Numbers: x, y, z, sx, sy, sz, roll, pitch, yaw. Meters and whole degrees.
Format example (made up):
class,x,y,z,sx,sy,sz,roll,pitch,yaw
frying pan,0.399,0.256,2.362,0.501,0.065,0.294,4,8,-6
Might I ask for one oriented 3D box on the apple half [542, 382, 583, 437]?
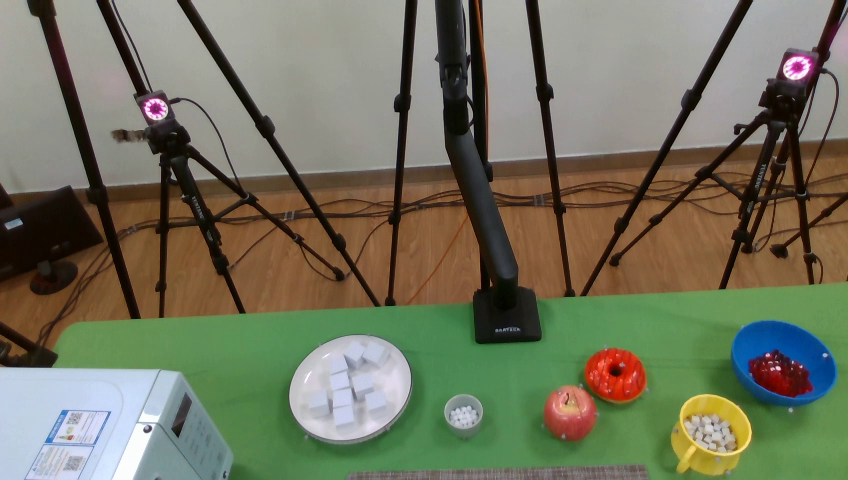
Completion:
class,x,y,z,sx,sy,sz,roll,pitch,yaw
apple half,0.212,0.268,0.944,0.053,0.075,0.080,-12,48,1

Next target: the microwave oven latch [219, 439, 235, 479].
class,x,y,z,sx,sy,sz,roll,pitch,yaw
microwave oven latch,-0.313,0.344,0.924,0.030,0.030,0.078,1,46,7

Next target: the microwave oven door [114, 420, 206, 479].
class,x,y,z,sx,sy,sz,roll,pitch,yaw
microwave oven door,-0.339,0.425,0.698,0.039,0.246,0.352,-1,45,6

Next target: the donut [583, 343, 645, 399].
class,x,y,z,sx,sy,sz,roll,pitch,yaw
donut,0.314,0.217,1.004,0.099,0.049,0.098,-4,47,5

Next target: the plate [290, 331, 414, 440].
class,x,y,z,sx,sy,sz,roll,pitch,yaw
plate,-0.119,0.247,1.027,0.207,0.039,0.205,-3,44,3

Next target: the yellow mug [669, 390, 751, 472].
class,x,y,z,sx,sy,sz,roll,pitch,yaw
yellow mug,0.414,0.292,0.900,0.131,0.064,0.099,-35,51,-24

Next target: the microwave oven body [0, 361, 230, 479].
class,x,y,z,sx,sy,sz,roll,pitch,yaw
microwave oven body,-0.481,0.401,0.746,0.326,0.263,0.437,0,46,6

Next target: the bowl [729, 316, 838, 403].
class,x,y,z,sx,sy,sz,roll,pitch,yaw
bowl,0.559,0.203,0.965,0.151,0.077,0.150,-4,45,4

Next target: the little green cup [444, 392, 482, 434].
class,x,y,z,sx,sy,sz,roll,pitch,yaw
little green cup,0.064,0.280,0.973,0.061,0.039,0.061,-3,44,4

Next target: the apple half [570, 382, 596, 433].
class,x,y,z,sx,sy,sz,roll,pitch,yaw
apple half,0.250,0.260,0.945,0.033,0.082,0.080,-12,44,1
